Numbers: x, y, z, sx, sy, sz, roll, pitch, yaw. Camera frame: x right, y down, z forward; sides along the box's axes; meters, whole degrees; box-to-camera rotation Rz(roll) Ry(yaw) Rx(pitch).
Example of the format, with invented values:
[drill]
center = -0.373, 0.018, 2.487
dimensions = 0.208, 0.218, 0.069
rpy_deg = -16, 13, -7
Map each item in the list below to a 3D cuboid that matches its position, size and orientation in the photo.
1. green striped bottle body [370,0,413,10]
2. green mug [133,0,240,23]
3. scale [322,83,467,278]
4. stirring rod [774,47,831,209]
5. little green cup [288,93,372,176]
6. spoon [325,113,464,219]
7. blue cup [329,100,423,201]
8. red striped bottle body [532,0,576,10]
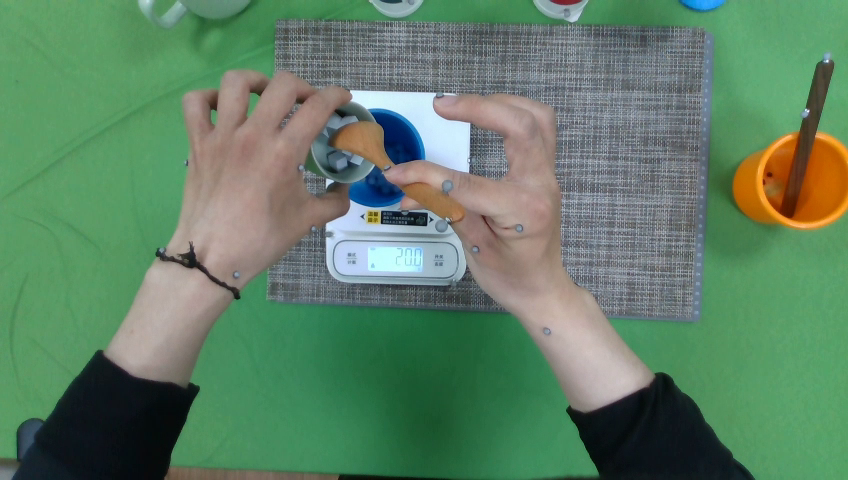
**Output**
[green striped bottle body]
center = -0.037, -0.272, 0.581
dimensions = 0.063, 0.119, 0.063
rpy_deg = 0, 91, 3
[green mug]
center = -0.238, -0.271, 0.599
dimensions = 0.092, 0.105, 0.125
rpy_deg = 37, 93, 1
[scale]
center = -0.031, -0.061, 0.628
dimensions = 0.148, 0.031, 0.201
rpy_deg = 1, 92, 3
[stirring rod]
center = 0.346, -0.095, 0.559
dimensions = 0.014, 0.005, 0.178
rpy_deg = -12, 133, 4
[little green cup]
center = -0.071, -0.080, 0.461
dimensions = 0.038, 0.062, 0.061
rpy_deg = 13, 93, 47
[spoon]
center = -0.020, -0.050, 0.376
dimensions = 0.042, 0.191, 0.022
rpy_deg = -23, 125, -16
[blue cup]
center = -0.040, -0.078, 0.563
dimensions = 0.092, 0.100, 0.092
rpy_deg = 0, 94, 4
[red striped bottle body]
center = 0.133, -0.269, 0.573
dimensions = 0.063, 0.119, 0.063
rpy_deg = 0, 91, 3
